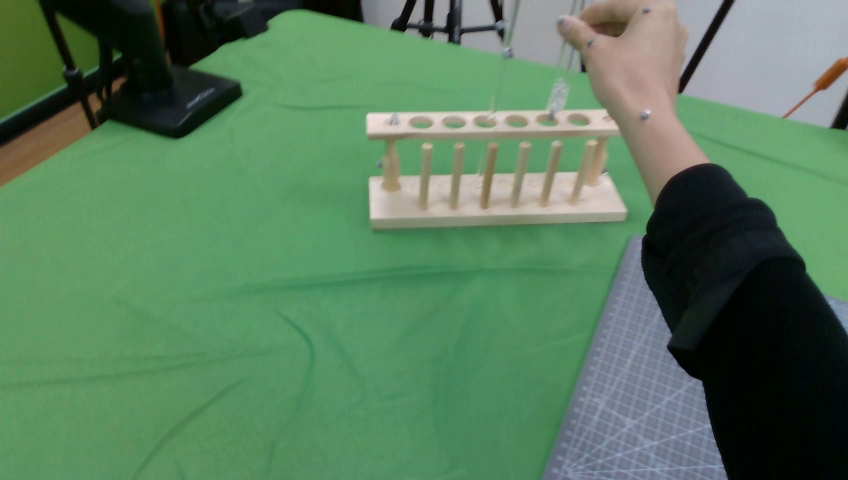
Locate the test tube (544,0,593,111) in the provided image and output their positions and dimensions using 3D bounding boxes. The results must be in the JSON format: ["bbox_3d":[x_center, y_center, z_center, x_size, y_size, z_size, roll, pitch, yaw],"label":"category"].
[{"bbox_3d":[0.118,-0.165,0.478,0.017,0.151,0.017,3,49,-3],"label":"test tube"}]

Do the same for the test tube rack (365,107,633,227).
[{"bbox_3d":[0.068,-0.069,0.566,0.243,0.086,0.066,-2,43,-5],"label":"test tube rack"}]

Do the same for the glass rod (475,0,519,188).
[{"bbox_3d":[0.060,-0.120,0.522,0.008,0.201,0.008,3,46,-3],"label":"glass rod"}]
